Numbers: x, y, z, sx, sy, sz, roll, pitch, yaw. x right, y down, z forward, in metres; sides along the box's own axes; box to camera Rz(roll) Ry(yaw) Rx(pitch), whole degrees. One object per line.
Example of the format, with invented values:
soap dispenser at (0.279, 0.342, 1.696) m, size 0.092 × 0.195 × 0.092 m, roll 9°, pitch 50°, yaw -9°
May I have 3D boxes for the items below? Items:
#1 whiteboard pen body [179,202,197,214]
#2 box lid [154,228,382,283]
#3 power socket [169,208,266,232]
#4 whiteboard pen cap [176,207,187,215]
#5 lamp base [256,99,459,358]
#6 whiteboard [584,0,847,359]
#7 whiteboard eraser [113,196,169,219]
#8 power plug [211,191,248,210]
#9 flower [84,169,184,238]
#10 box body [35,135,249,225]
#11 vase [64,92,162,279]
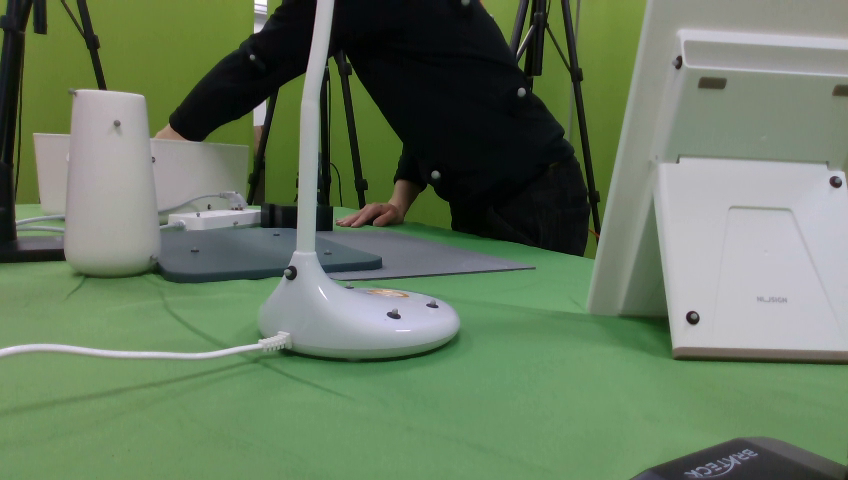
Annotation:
whiteboard pen body at (-0.520, -0.070, 1.330) m, size 0.017 × 0.017 × 0.140 m, roll 1°, pitch 9°, yaw -9°
box lid at (-0.250, 0.014, 0.852) m, size 0.265 × 0.015 × 0.369 m, roll -3°, pitch 9°, yaw -32°
power socket at (-0.379, -0.038, 1.129) m, size 0.072 × 0.032 × 0.227 m, roll 4°, pitch 8°, yaw 18°
whiteboard pen cap at (-0.511, -0.062, 1.274) m, size 0.018 × 0.018 × 0.033 m, roll 1°, pitch 8°, yaw -10°
lamp base at (-0.055, -0.013, 0.463) m, size 0.160 × 0.180 × 0.180 m, roll 6°, pitch 11°, yaw 27°
whiteboard at (0.269, -0.034, 0.466) m, size 0.217 × 0.305 × 0.143 m, roll 2°, pitch 27°, yaw -1°
whiteboard eraser at (-0.546, -0.064, 1.174) m, size 0.055 × 0.042 × 0.113 m, roll 4°, pitch 5°, yaw 4°
power plug at (-0.384, -0.071, 1.206) m, size 0.072 × 0.052 × 0.035 m, roll 1°, pitch 7°, yaw 28°
flower at (-0.611, -0.080, 1.285) m, size 0.044 × 0.038 × 0.361 m, roll 2°, pitch 25°, yaw 6°
box body at (-0.561, -0.127, 1.258) m, size 0.254 × 0.160 × 0.365 m, roll 4°, pitch 8°, yaw 13°
vase at (-0.348, -0.060, 0.672) m, size 0.098 × 0.200 × 0.098 m, roll 1°, pitch 7°, yaw 0°
